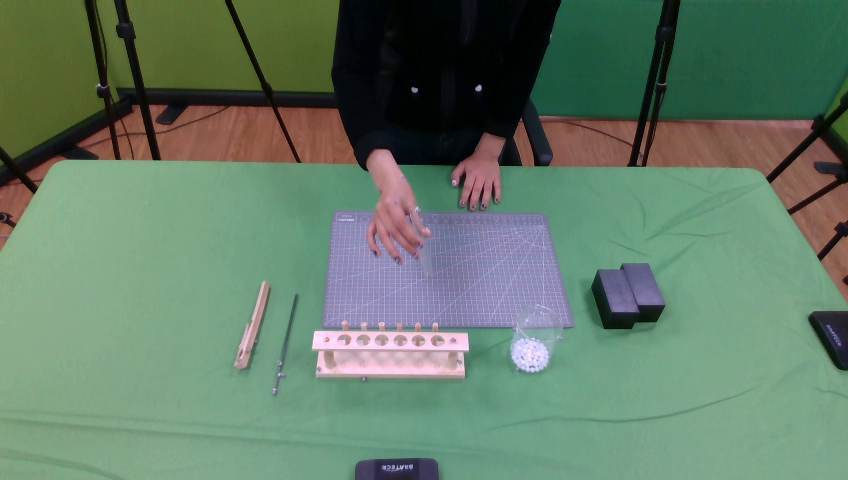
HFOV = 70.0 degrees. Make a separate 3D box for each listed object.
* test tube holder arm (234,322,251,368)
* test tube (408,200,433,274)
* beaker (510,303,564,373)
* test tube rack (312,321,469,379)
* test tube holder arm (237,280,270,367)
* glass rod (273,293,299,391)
[{"bbox_3d":[-0.299,0.174,1.013,0.010,0.015,0.087,-18,41,23],"label":"test tube holder arm"},{"bbox_3d":[-0.004,-0.002,0.963,0.017,0.151,0.017,-7,41,7],"label":"test tube"},{"bbox_3d":[0.182,0.164,1.000,0.074,0.101,0.083,2,45,-1],"label":"beaker"},{"bbox_3d":[-0.053,0.173,0.984,0.242,0.085,0.066,1,46,-3],"label":"test tube rack"},{"bbox_3d":[-0.290,0.140,1.042,0.013,0.015,0.177,-18,41,23],"label":"test tube holder arm"},{"bbox_3d":[-0.233,0.167,1.030,0.008,0.008,0.198,3,46,0],"label":"glass rod"}]
